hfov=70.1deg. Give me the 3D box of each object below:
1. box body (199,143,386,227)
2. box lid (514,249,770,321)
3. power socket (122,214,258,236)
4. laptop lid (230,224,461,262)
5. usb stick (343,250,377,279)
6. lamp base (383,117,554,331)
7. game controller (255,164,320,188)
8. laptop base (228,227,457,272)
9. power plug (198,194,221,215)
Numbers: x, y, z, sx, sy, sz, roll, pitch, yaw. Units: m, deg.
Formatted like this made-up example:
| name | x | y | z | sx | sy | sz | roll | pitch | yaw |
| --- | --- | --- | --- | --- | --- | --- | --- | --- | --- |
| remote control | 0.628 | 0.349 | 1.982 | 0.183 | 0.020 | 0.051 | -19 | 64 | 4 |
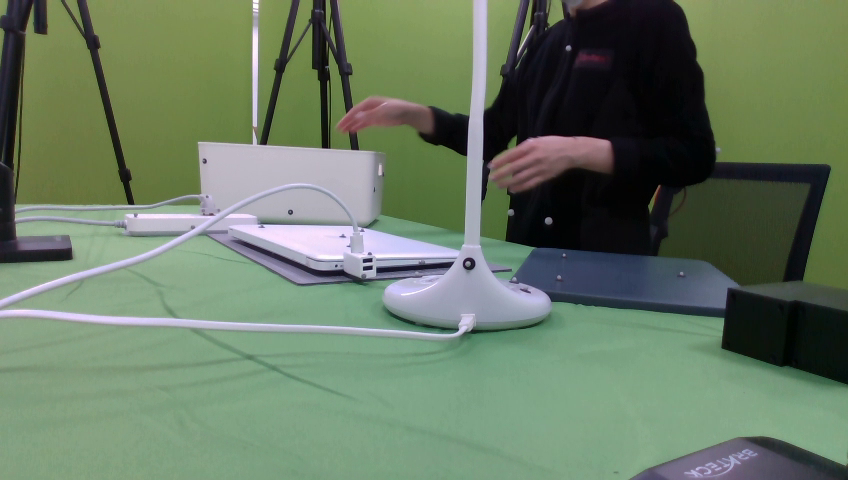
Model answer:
| name | x | y | z | sx | sy | sz | roll | pitch | yaw |
| --- | --- | --- | --- | --- | --- | --- | --- | --- | --- |
| box body | -0.277 | -0.124 | 1.335 | 0.364 | 0.160 | 0.254 | 3 | 7 | 1 |
| box lid | 0.259 | 0.048 | 0.781 | 0.263 | 0.015 | 0.372 | 4 | 7 | 14 |
| power socket | -0.399 | -0.028 | 1.049 | 0.228 | 0.032 | 0.072 | -3 | 8 | -34 |
| laptop lid | -0.120 | 0.000 | 0.888 | 0.243 | 0.013 | 0.355 | 1 | 7 | -33 |
| usb stick | -0.076 | 0.026 | 0.687 | 0.021 | 0.027 | 0.059 | -8 | 8 | -31 |
| lamp base | 0.045 | -0.019 | 0.547 | 0.161 | 0.180 | 0.179 | 2 | 10 | -4 |
| game controller | -0.298 | -0.139 | 1.319 | 0.097 | 0.051 | 0.155 | 0 | 6 | 15 |
| laptop base | -0.122 | 0.011 | 0.889 | 0.237 | 0.023 | 0.352 | 2 | 6 | -35 |
| power plug | -0.387 | -0.055 | 1.089 | 0.035 | 0.052 | 0.072 | -1 | 6 | -22 |
